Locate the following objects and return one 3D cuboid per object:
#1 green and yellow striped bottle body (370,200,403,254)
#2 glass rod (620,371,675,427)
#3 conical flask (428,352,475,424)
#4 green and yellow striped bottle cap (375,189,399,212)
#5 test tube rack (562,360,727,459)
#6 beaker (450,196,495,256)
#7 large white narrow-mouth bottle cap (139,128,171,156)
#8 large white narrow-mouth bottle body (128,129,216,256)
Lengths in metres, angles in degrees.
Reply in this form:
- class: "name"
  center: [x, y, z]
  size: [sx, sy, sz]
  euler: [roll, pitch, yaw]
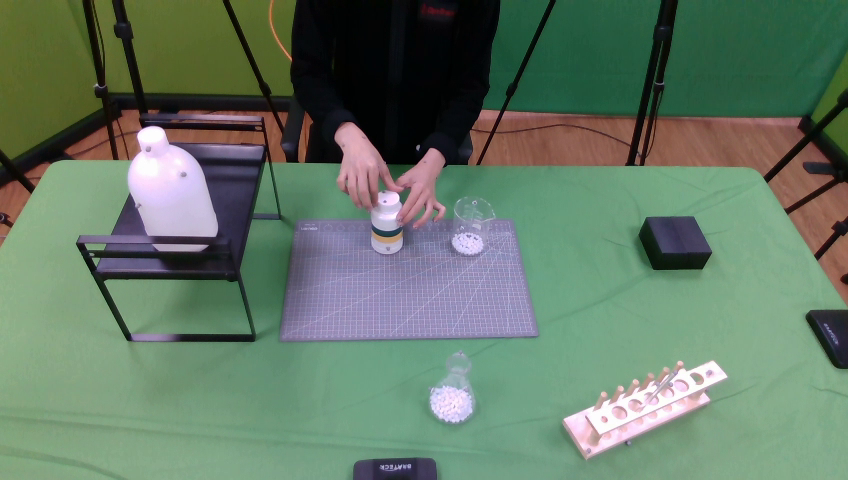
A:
- class: "green and yellow striped bottle body"
  center: [-0.072, -0.035, 1.153]
  size: [0.063, 0.120, 0.063]
  euler: [3, 46, -2]
- class: "glass rod"
  center: [0.316, 0.230, 0.863]
  size: [0.008, 0.200, 0.008]
  euler: [3, 54, -3]
- class: "conical flask"
  center: [0.046, 0.220, 0.920]
  size: [0.075, 0.122, 0.075]
  euler: [2, 46, -2]
- class: "green and yellow striped bottle cap"
  center: [-0.067, -0.073, 1.114]
  size: [0.045, 0.020, 0.045]
  euler: [3, 45, -2]
- class: "test tube rack"
  center: [0.341, 0.247, 0.940]
  size: [0.243, 0.085, 0.066]
  euler: [-16, 49, -18]
- class: "beaker"
  center: [0.092, -0.024, 1.170]
  size: [0.084, 0.101, 0.073]
  euler: [15, 48, 10]
- class: "large white narrow-mouth bottle cap"
  center: [-0.359, -0.131, 0.808]
  size: [0.038, 0.024, 0.037]
  euler: [3, 47, -3]
- class: "large white narrow-mouth bottle body"
  center: [-0.366, -0.073, 0.872]
  size: [0.102, 0.195, 0.101]
  euler: [3, 47, -3]
